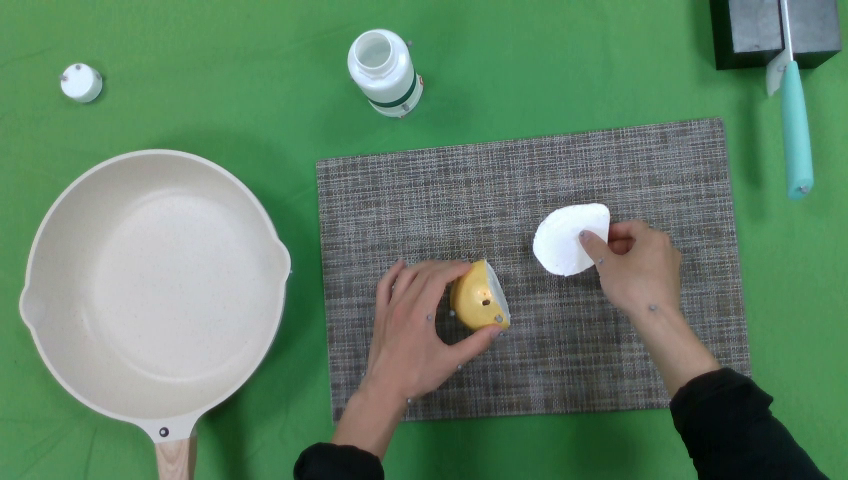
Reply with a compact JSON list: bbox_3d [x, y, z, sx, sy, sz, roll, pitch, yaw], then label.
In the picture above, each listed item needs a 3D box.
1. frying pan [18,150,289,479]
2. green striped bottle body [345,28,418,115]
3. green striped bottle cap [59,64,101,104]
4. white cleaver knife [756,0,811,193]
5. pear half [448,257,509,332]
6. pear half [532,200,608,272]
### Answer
[{"bbox_3d":[-0.272,0.150,0.650,0.306,0.103,0.485,-10,77,6],"label":"frying pan"},{"bbox_3d":[-0.044,-0.178,0.636,0.063,0.119,0.063,0,85,7],"label":"green striped bottle body"},{"bbox_3d":[-0.414,-0.187,0.728,0.044,0.020,0.044,-1,86,7],"label":"green striped bottle cap"},{"bbox_3d":[0.363,-0.189,0.618,0.021,0.066,0.285,-3,84,12],"label":"white cleaver knife"},{"bbox_3d":[0.052,0.060,0.610,0.056,0.110,0.076,-27,84,5],"label":"pear half"},{"bbox_3d":[0.156,-0.005,0.637,0.088,0.031,0.070,-41,75,1],"label":"pear half"}]
